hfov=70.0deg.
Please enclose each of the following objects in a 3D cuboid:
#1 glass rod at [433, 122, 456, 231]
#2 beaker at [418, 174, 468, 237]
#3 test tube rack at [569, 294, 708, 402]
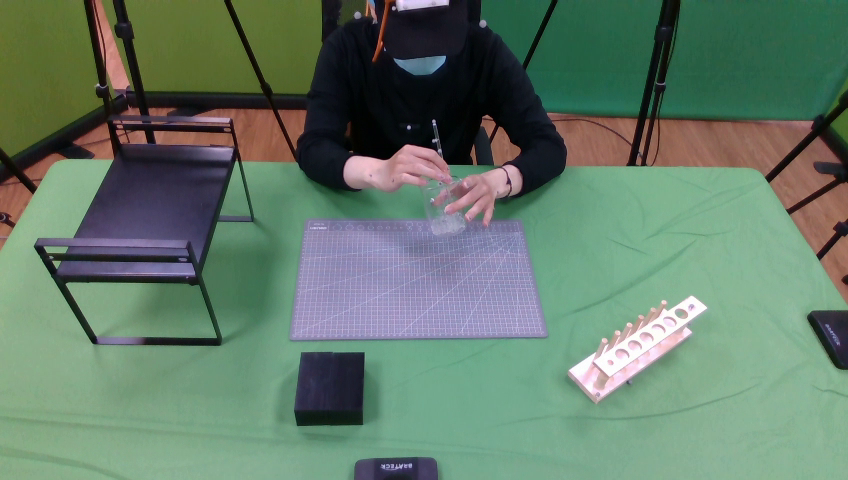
[{"bbox_3d":[0.036,-0.112,1.083,0.008,0.200,0.008,-11,11,2],"label":"glass rod"},{"bbox_3d":[0.040,-0.063,1.108,0.084,0.100,0.074,-8,22,14],"label":"beaker"},{"bbox_3d":[0.360,0.167,1.015,0.242,0.085,0.066,-25,52,-25],"label":"test tube rack"}]
